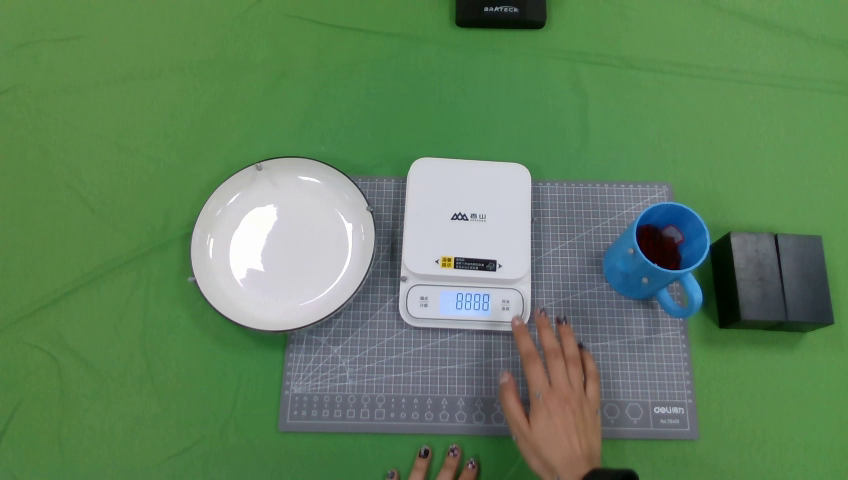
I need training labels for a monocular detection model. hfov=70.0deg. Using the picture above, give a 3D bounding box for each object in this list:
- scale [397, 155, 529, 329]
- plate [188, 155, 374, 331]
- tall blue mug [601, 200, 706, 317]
[{"bbox_3d":[0.047,-0.001,0.698,0.149,0.032,0.199,3,73,1],"label":"scale"},{"bbox_3d":[-0.159,0.003,0.691,0.209,0.038,0.208,0,72,1],"label":"plate"},{"bbox_3d":[0.256,0.021,0.654,0.107,0.108,0.077,37,75,11],"label":"tall blue mug"}]
